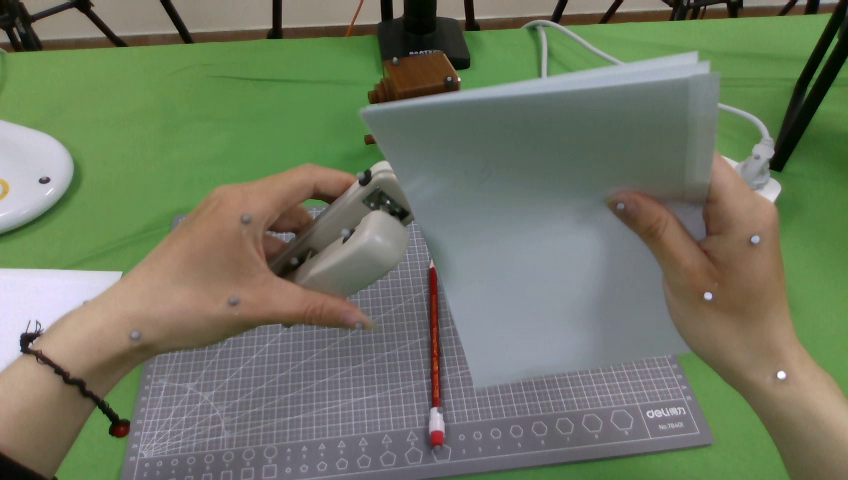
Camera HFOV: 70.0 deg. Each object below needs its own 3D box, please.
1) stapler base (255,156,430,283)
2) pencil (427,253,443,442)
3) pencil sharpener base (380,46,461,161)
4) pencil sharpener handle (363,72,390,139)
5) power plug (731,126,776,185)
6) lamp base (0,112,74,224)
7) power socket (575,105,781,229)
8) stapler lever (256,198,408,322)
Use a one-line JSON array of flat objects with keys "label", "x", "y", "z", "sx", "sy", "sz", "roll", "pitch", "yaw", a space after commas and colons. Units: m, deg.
[{"label": "stapler base", "x": -0.053, "y": 0.001, "z": 0.364, "sx": 0.041, "sy": 0.130, "sz": 0.024, "roll": 41, "pitch": 32, "yaw": -22}, {"label": "pencil", "x": 0.008, "y": 0.082, "z": 0.526, "sx": 0.012, "sy": 0.012, "sz": 0.192, "roll": 0, "pitch": 47, "yaw": -1}, {"label": "pencil sharpener base", "x": -0.007, "y": -0.148, "z": 0.668, "sx": 0.077, "sy": 0.108, "sz": 0.060, "roll": -13, "pitch": 50, "yaw": -13}, {"label": "pencil sharpener handle", "x": -0.053, "y": -0.141, "z": 0.642, "sx": 0.031, "sy": 0.068, "sz": 0.035, "roll": -13, "pitch": 28, "yaw": -13}, {"label": "power plug", "x": 0.355, "y": -0.081, "z": 0.640, "sx": 0.072, "sy": 0.053, "sz": 0.035, "roll": -31, "pitch": 56, "yaw": -25}, {"label": "lamp base", "x": -0.460, "y": -0.128, "z": 0.582, "sx": 0.161, "sy": 0.182, "sz": 0.177, "roll": -30, "pitch": 53, "yaw": -26}, {"label": "power socket", "x": 0.280, "y": -0.086, "z": 0.673, "sx": 0.225, "sy": 0.033, "sz": 0.072, "roll": 33, "pitch": 55, "yaw": 25}, {"label": "stapler lever", "x": -0.056, "y": 0.018, "z": 0.346, "sx": 0.027, "sy": 0.118, "sz": 0.040, "roll": 41, "pitch": 32, "yaw": -22}]
